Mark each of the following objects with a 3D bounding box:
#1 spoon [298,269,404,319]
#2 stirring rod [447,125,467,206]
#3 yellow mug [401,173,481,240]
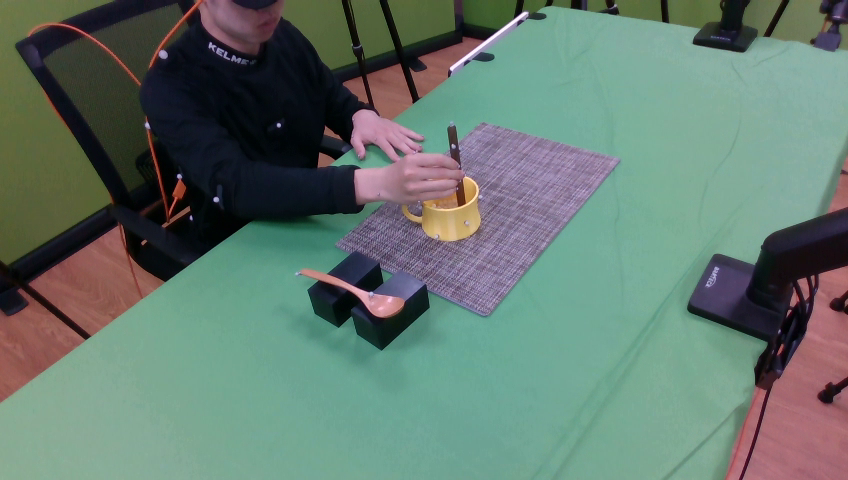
[{"bbox_3d":[-0.106,0.068,0.831,0.192,0.022,0.042,21,48,32],"label":"spoon"},{"bbox_3d":[0.054,-0.102,0.945,0.014,0.177,0.005,-21,41,-11],"label":"stirring rod"},{"bbox_3d":[0.026,-0.054,0.989,0.130,0.064,0.099,-1,41,8],"label":"yellow mug"}]
